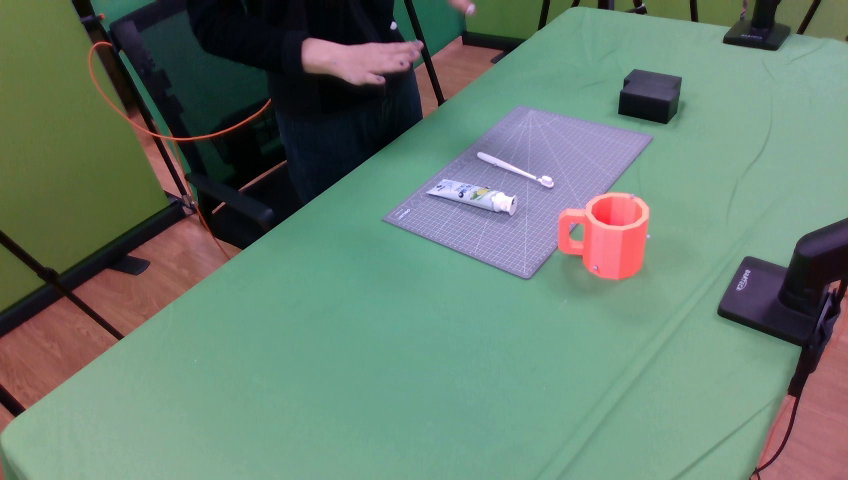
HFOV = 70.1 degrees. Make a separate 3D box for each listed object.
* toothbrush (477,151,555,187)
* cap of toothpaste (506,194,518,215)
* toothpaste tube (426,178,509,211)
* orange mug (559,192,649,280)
[{"bbox_3d":[0.164,-0.133,1.107,0.180,0.017,0.014,30,69,39],"label":"toothbrush"},{"bbox_3d":[0.146,-0.060,1.007,0.011,0.037,0.037,14,46,22],"label":"cap of toothpaste"},{"bbox_3d":[0.084,-0.081,1.054,0.164,0.034,0.055,18,40,34],"label":"toothpaste tube"},{"bbox_3d":[0.261,-0.008,0.884,0.126,0.101,0.083,9,43,14],"label":"orange mug"}]
